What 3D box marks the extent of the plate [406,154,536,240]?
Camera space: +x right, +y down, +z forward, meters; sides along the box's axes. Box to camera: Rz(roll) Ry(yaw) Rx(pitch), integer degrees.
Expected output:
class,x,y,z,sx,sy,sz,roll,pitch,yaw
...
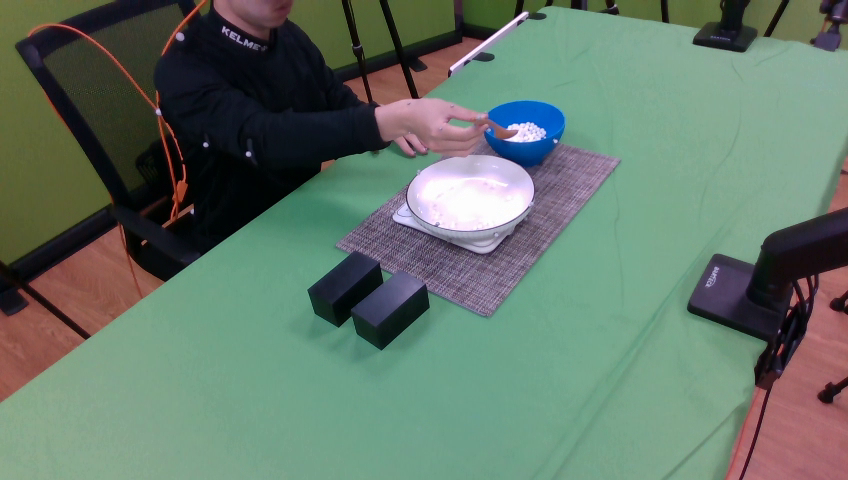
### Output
class,x,y,z,sx,sy,sz,roll,pitch,yaw
plate,0.075,-0.067,0.973,0.209,0.038,0.208,-4,41,4

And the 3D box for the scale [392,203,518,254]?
class,x,y,z,sx,sy,sz,roll,pitch,yaw
scale,0.060,-0.050,1.006,0.199,0.032,0.149,22,48,30

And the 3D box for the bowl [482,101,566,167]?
class,x,y,z,sx,sy,sz,roll,pitch,yaw
bowl,0.182,-0.186,1.111,0.151,0.077,0.150,-4,40,4

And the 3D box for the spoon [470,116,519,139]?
class,x,y,z,sx,sy,sz,roll,pitch,yaw
spoon,0.109,-0.181,0.961,0.041,0.021,0.195,-3,-1,25
